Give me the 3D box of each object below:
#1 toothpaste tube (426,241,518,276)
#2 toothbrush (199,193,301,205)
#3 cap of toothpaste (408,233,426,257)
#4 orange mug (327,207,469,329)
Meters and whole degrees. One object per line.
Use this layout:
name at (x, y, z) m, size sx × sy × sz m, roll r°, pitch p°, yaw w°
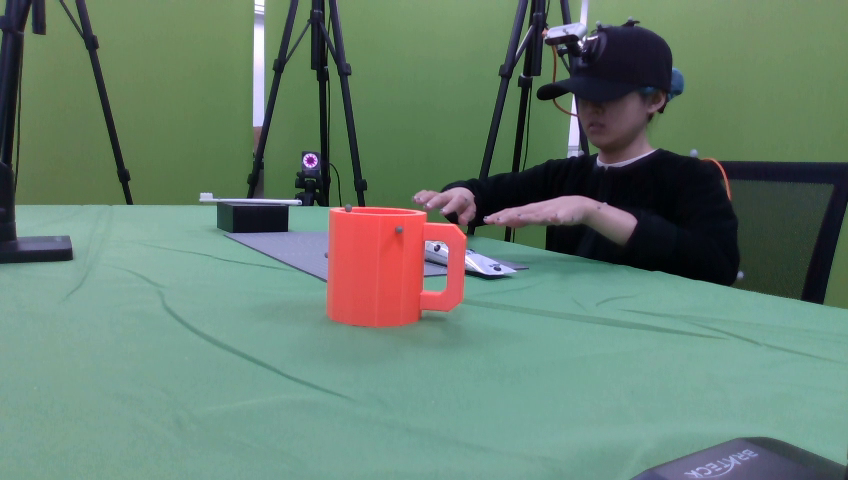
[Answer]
toothpaste tube at (0.045, 0.024, 0.805) m, size 0.055 × 0.034 × 0.164 m, roll -10°, pitch 18°, yaw -41°
toothbrush at (-0.323, -0.076, 1.129) m, size 0.182 × 0.016 × 0.014 m, roll 2°, pitch 4°, yaw -15°
cap of toothpaste at (-0.008, 0.008, 0.864) m, size 0.011 × 0.037 × 0.037 m, roll 8°, pitch 9°, yaw 38°
orange mug at (-0.024, 0.021, 0.535) m, size 0.126 × 0.100 × 0.083 m, roll -1°, pitch 6°, yaw 8°
